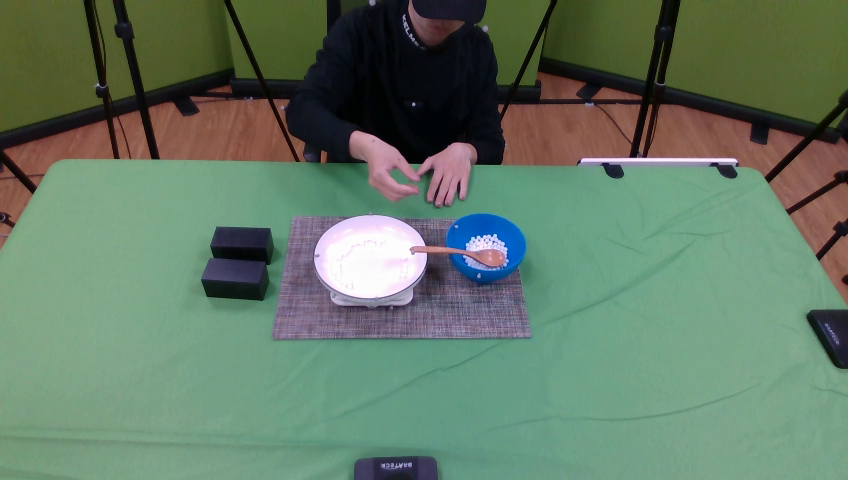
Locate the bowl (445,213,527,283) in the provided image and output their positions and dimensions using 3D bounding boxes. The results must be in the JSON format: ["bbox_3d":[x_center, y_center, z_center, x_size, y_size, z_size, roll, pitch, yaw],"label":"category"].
[{"bbox_3d":[0.111,0.027,1.137,0.151,0.077,0.150,2,46,-2],"label":"bowl"}]

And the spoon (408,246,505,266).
[{"bbox_3d":[0.061,0.023,1.091,0.194,0.022,0.041,9,49,-27],"label":"spoon"}]

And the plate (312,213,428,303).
[{"bbox_3d":[-0.097,0.036,1.100,0.209,0.038,0.208,2,46,-2],"label":"plate"}]

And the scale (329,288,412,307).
[{"bbox_3d":[-0.098,0.042,1.139,0.149,0.032,0.199,1,46,-4],"label":"scale"}]
